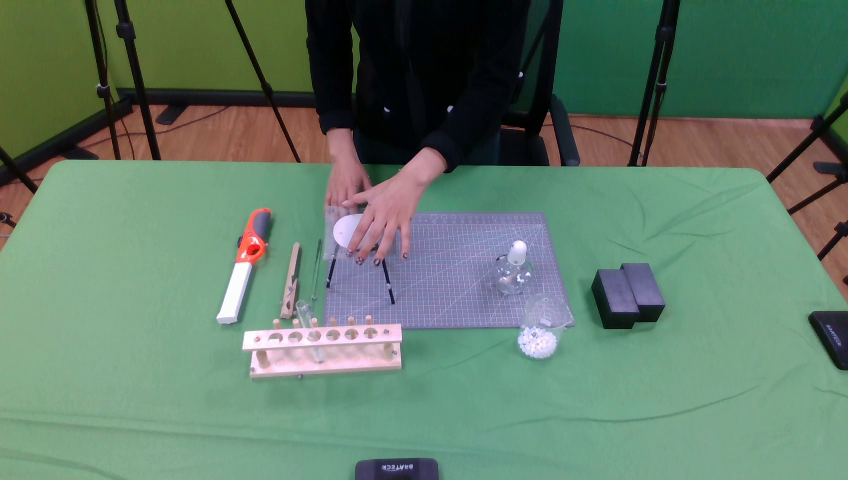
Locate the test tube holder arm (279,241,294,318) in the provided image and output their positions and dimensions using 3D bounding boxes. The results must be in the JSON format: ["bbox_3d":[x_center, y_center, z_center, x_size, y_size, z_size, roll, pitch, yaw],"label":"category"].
[{"bbox_3d":[-0.251,0.068,1.113,0.013,0.015,0.177,28,37,-32],"label":"test tube holder arm"}]

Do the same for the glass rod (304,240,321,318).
[{"bbox_3d":[-0.206,0.068,1.128,0.008,0.008,0.198,2,43,-2],"label":"glass rod"}]

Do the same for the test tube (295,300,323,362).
[{"bbox_3d":[-0.176,0.143,0.935,0.017,0.151,0.017,-2,46,2],"label":"test tube"}]

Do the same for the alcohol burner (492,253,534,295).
[{"bbox_3d":[0.165,0.045,1.102,0.078,0.119,0.077,3,47,-3],"label":"alcohol burner"}]

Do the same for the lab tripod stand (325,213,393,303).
[{"bbox_3d":[-0.104,0.031,1.080,0.148,0.132,0.147,4,45,-4],"label":"lab tripod stand"}]

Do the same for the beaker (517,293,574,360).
[{"bbox_3d":[0.200,0.149,1.018,0.084,0.101,0.073,14,47,8],"label":"beaker"}]

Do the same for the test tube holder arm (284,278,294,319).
[{"bbox_3d":[-0.243,0.103,1.085,0.010,0.015,0.087,29,36,-31],"label":"test tube holder arm"}]

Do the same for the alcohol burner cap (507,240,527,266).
[{"bbox_3d":[0.167,0.021,1.075,0.034,0.048,0.033,0,55,0],"label":"alcohol burner cap"}]

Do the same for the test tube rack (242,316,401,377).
[{"bbox_3d":[-0.161,0.166,0.983,0.242,0.085,0.066,-2,46,-6],"label":"test tube rack"}]

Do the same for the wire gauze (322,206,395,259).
[{"bbox_3d":[-0.111,-0.016,1.034,0.121,0.011,0.124,0,46,-6],"label":"wire gauze"}]

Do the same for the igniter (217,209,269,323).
[{"bbox_3d":[-0.334,0.039,1.132,0.057,0.025,0.275,-4,46,6],"label":"igniter"}]
